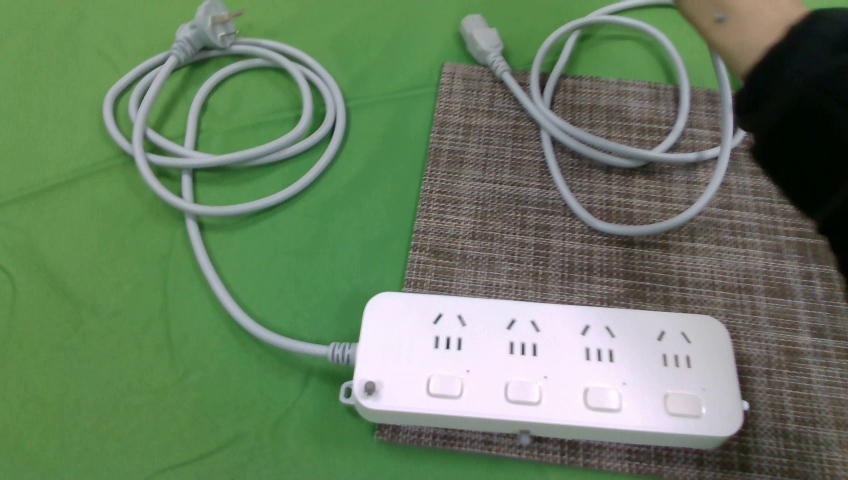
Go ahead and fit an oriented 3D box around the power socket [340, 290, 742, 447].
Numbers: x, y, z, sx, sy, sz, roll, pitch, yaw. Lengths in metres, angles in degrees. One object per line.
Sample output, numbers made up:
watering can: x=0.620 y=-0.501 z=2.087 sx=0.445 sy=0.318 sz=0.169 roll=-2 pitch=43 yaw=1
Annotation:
power socket: x=0.067 y=0.072 z=0.344 sx=0.227 sy=0.033 sz=0.071 roll=4 pitch=58 yaw=2
